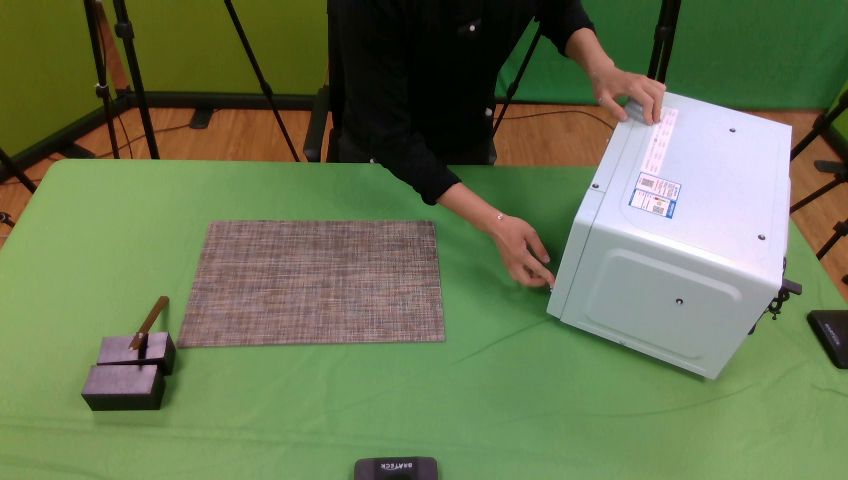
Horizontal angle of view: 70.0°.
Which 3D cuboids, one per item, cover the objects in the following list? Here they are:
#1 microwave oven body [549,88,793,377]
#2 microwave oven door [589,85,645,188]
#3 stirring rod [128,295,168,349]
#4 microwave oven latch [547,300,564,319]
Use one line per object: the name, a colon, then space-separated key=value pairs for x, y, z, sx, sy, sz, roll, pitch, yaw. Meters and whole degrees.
microwave oven body: x=0.456 y=-0.028 z=1.088 sx=0.325 sy=0.261 sz=0.440 roll=20 pitch=47 yaw=16
microwave oven door: x=0.342 y=-0.107 z=1.149 sx=0.039 sy=0.245 sz=0.354 roll=20 pitch=48 yaw=15
stirring rod: x=-0.451 y=0.131 z=0.996 sx=0.014 sy=0.006 sz=0.175 roll=8 pitch=20 yaw=-10
microwave oven latch: x=0.243 y=0.102 z=1.081 sx=0.030 sy=0.029 sz=0.079 roll=22 pitch=48 yaw=18
